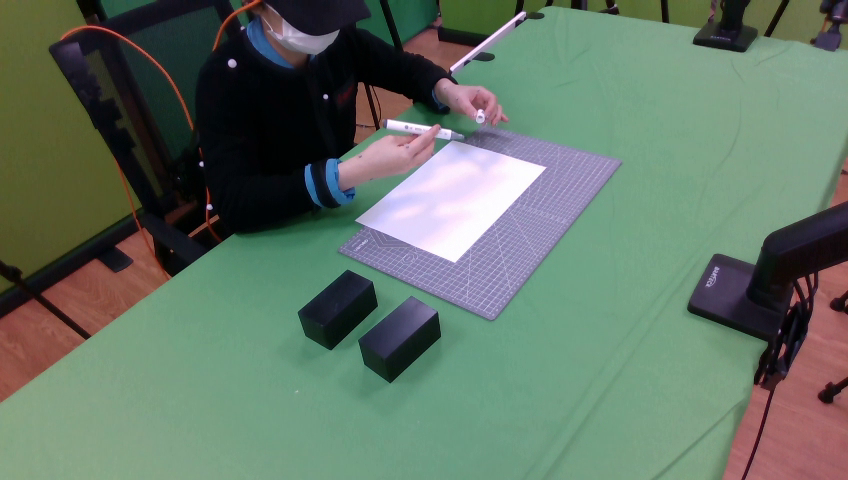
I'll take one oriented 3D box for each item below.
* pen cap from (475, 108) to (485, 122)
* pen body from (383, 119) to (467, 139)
[{"bbox_3d":[0.105,-0.232,1.120,0.017,0.017,0.038,1,30,10],"label":"pen cap"},{"bbox_3d":[0.003,-0.182,1.007,0.145,0.017,0.017,7,38,-15],"label":"pen body"}]
